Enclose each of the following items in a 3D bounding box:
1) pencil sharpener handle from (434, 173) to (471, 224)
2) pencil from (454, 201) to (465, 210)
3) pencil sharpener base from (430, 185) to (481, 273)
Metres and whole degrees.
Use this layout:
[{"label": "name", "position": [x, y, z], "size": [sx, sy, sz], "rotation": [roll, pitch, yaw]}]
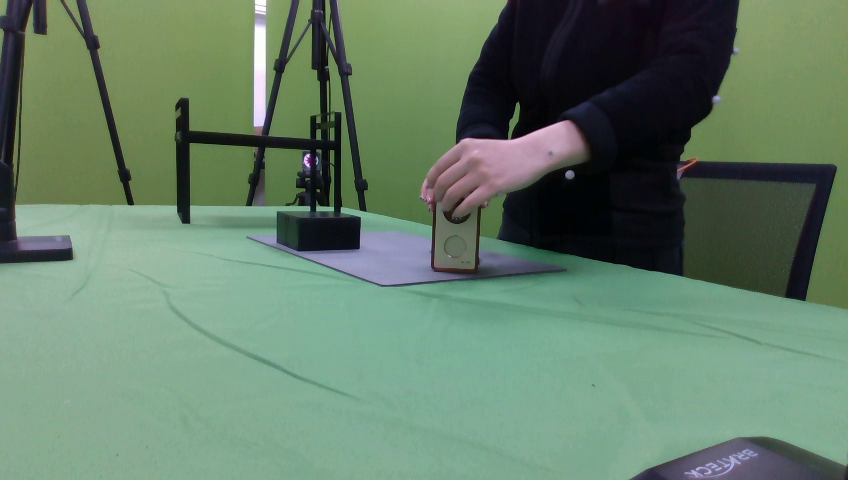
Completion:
[{"label": "pencil sharpener handle", "position": [0.031, -0.050, 0.728], "size": [0.036, 0.068, 0.030], "rotation": [-28, 5, 8]}, {"label": "pencil", "position": [0.050, -0.049, 0.872], "size": [0.012, 0.012, 0.194], "rotation": [3, 5, 5]}, {"label": "pencil sharpener base", "position": [0.042, -0.015, 0.783], "size": [0.061, 0.107, 0.077], "rotation": [3, 8, 4]}]
